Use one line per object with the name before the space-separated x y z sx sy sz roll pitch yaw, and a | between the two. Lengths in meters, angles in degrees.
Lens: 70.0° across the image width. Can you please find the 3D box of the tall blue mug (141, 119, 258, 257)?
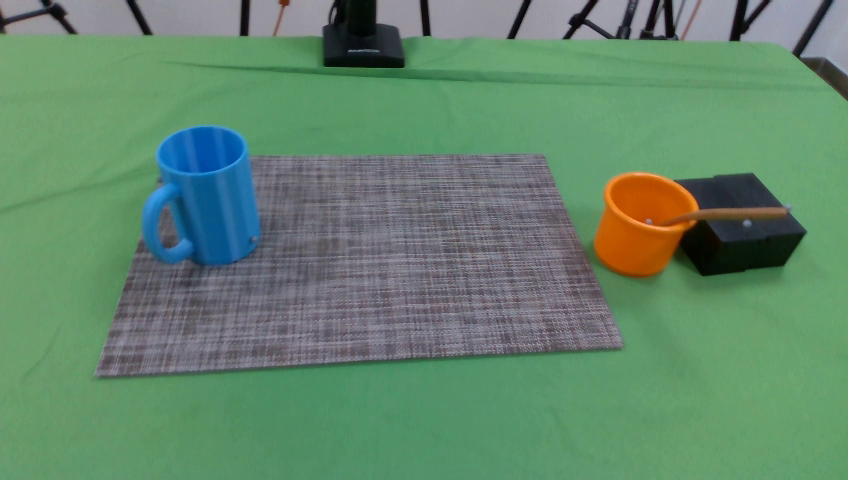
tall blue mug | -0.203 -0.037 0.560 0.078 0.109 0.106 5 44 -2

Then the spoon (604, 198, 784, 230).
spoon | 0.245 -0.027 0.574 0.042 0.193 0.021 -19 93 -25
